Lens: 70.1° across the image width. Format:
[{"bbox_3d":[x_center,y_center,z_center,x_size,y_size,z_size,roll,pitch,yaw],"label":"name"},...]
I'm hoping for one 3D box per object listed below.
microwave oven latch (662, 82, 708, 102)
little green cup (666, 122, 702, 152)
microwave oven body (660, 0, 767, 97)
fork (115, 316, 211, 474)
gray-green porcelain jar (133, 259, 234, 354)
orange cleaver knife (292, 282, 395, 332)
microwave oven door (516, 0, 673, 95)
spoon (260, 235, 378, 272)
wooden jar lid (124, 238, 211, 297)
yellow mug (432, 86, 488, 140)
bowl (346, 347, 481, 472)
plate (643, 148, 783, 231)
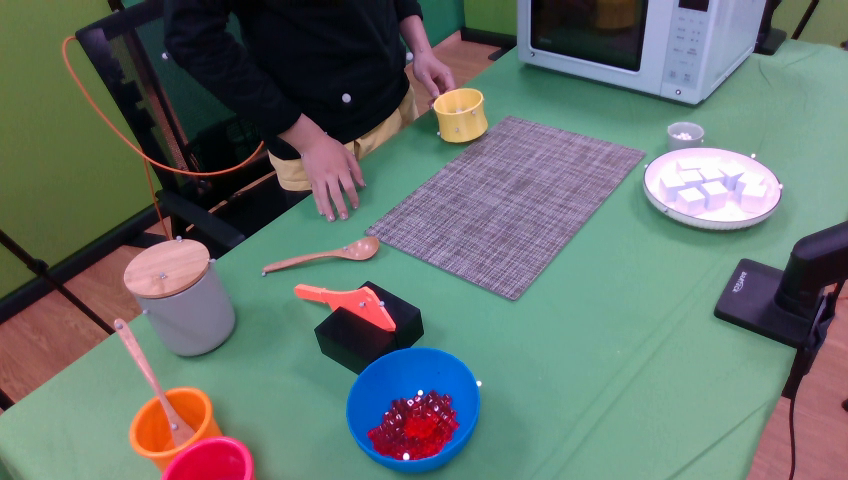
[{"bbox_3d":[0.517,-0.298,1.202,0.078,0.029,0.030,27,52,34],"label":"microwave oven latch"},{"bbox_3d":[0.471,-0.184,1.102,0.061,0.039,0.061,-5,41,5],"label":"little green cup"},{"bbox_3d":[0.473,-0.516,1.313,0.438,0.261,0.327,26,51,34],"label":"microwave oven body"},{"bbox_3d":[-0.308,0.179,0.708,0.028,0.018,0.207,-30,89,-22],"label":"fork"},{"bbox_3d":[-0.328,0.087,0.836,0.106,0.127,0.105,-4,41,4],"label":"gray-green porcelain jar"},{"bbox_3d":[-0.116,0.091,0.835,0.209,0.077,0.012,2,32,48],"label":"orange cleaver knife"},{"bbox_3d":[0.344,-0.458,1.256,0.353,0.245,0.039,26,51,33],"label":"microwave oven door"},{"bbox_3d":[-0.167,0.024,0.966,0.194,0.022,0.041,-10,59,-3],"label":"spoon"},{"bbox_3d":[-0.334,0.038,0.794,0.108,0.021,0.108,-2,40,2],"label":"wooden jar lid"},{"bbox_3d":[0.062,-0.260,1.210,0.100,0.064,0.129,-36,43,-22],"label":"yellow mug"},{"bbox_3d":[-0.008,0.205,0.691,0.151,0.077,0.150,-4,40,4],"label":"bowl"},{"bbox_3d":[0.464,-0.080,0.986,0.207,0.039,0.206,-4,40,4],"label":"plate"}]
